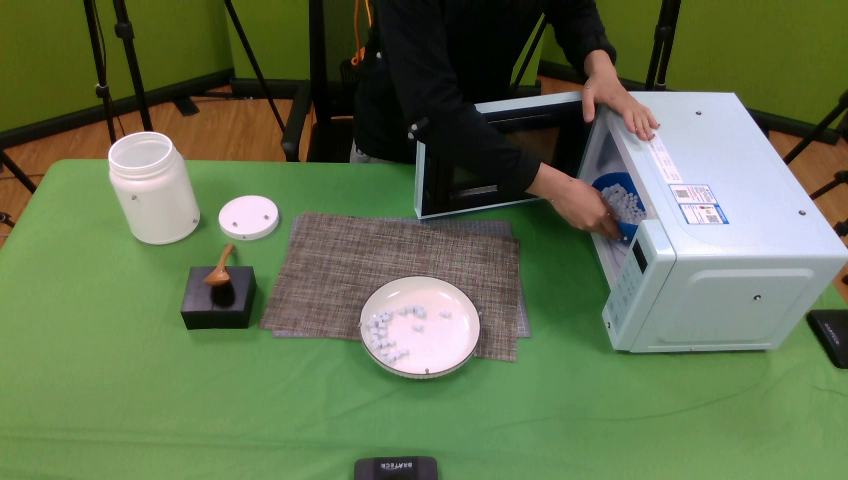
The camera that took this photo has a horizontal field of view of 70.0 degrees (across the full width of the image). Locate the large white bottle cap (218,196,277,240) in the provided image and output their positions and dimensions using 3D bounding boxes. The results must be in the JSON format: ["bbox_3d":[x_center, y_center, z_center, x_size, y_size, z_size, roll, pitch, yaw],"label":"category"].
[{"bbox_3d":[-0.354,-0.045,1.220,0.115,0.018,0.114,2,46,-2],"label":"large white bottle cap"}]

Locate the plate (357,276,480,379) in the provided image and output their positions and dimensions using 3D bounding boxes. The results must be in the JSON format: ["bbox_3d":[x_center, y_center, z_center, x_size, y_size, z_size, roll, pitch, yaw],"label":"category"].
[{"bbox_3d":[-0.010,0.151,1.038,0.209,0.038,0.208,2,47,-2],"label":"plate"}]

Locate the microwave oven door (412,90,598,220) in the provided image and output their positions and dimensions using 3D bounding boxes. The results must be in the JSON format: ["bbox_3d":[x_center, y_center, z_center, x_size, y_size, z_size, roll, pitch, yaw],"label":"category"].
[{"bbox_3d":[0.155,-0.167,1.200,0.356,0.245,0.039,-10,47,-14],"label":"microwave oven door"}]

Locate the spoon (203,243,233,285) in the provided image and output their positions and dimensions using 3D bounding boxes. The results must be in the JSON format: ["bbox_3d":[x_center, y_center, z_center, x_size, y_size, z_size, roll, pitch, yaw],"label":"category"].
[{"bbox_3d":[-0.360,0.039,1.087,0.041,0.022,0.192,-5,24,-7],"label":"spoon"}]

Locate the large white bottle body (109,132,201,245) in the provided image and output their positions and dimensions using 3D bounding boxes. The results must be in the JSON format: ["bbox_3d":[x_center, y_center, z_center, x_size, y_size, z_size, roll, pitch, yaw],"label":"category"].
[{"bbox_3d":[-0.506,-0.097,1.141,0.131,0.185,0.130,2,46,-2],"label":"large white bottle body"}]

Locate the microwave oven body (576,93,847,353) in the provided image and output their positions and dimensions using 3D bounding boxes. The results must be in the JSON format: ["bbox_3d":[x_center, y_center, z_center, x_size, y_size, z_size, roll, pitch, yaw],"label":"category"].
[{"bbox_3d":[0.475,-0.041,1.109,0.326,0.261,0.438,-1,45,-4],"label":"microwave oven body"}]

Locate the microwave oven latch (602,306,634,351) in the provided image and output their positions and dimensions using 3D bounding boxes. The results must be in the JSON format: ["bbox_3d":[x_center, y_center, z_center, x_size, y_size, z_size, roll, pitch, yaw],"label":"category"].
[{"bbox_3d":[0.332,0.153,1.044,0.030,0.029,0.078,0,45,-4],"label":"microwave oven latch"}]

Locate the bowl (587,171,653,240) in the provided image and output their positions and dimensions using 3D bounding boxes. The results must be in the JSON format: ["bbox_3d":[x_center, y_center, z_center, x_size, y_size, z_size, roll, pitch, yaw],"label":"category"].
[{"bbox_3d":[0.376,-0.053,1.148,0.151,0.077,0.150,3,49,-3],"label":"bowl"}]
